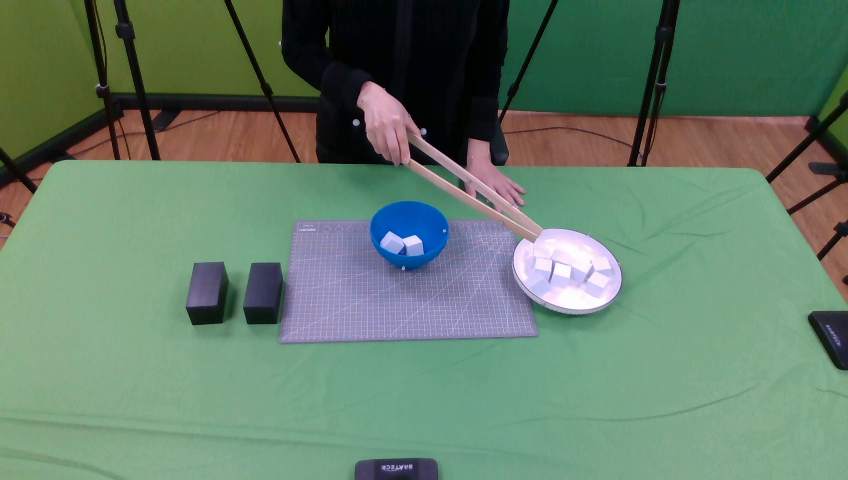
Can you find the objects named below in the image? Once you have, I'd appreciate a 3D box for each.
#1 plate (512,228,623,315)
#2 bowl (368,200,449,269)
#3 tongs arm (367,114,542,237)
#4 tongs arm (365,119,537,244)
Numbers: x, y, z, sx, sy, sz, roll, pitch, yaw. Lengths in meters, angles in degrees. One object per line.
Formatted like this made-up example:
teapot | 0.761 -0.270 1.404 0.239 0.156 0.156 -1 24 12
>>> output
plate | 0.268 0.063 1.146 0.208 0.039 0.206 3 46 -3
bowl | -0.030 0.002 1.151 0.151 0.077 0.150 2 46 -2
tongs arm | 0.049 -0.118 1.107 0.383 0.026 0.050 40 62 15
tongs arm | 0.039 -0.107 1.099 0.386 0.028 0.028 34 64 12
